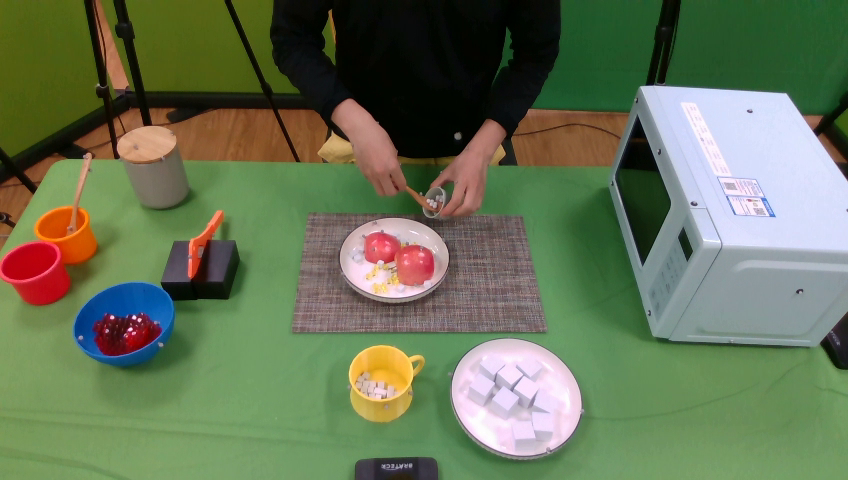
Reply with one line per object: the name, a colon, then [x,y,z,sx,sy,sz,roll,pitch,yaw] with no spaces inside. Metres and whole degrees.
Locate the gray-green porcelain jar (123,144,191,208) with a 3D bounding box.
gray-green porcelain jar: [-0.531,-0.137,1.213,0.106,0.127,0.105,2,47,-2]

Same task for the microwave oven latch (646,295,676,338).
microwave oven latch: [0.413,0.133,1.060,0.030,0.029,0.078,4,46,1]

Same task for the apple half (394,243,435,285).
apple half: [-0.016,0.037,1.120,0.075,0.053,0.080,1,45,-6]

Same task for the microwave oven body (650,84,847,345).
microwave oven body: [0.569,-0.054,1.116,0.326,0.261,0.439,2,46,-1]

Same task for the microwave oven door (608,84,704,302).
microwave oven door: [0.424,-0.096,1.138,0.039,0.245,0.353,2,46,-1]

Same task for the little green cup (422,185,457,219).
little green cup: [0.031,-0.070,1.154,0.061,0.039,0.061,-11,69,32]

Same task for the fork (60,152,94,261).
fork: [-0.638,-0.063,1.119,0.028,0.018,0.207,12,90,7]

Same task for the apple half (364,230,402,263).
apple half: [-0.079,0.005,1.159,0.081,0.033,0.081,2,49,-2]

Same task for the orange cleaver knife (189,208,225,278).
orange cleaver knife: [-0.401,0.002,1.122,0.012,0.077,0.210,4,23,-4]

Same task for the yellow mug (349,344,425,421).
yellow mug: [-0.054,0.217,0.954,0.131,0.064,0.099,-24,53,-25]

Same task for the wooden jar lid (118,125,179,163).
wooden jar lid: [-0.528,-0.181,1.167,0.108,0.021,0.107,4,48,-4]

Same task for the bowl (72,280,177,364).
bowl: [-0.472,0.147,0.982,0.151,0.077,0.150,2,46,-2]

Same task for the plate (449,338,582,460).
plate: [0.141,0.251,0.955,0.208,0.039,0.206,2,47,-2]

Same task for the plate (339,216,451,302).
plate: [-0.054,0.038,1.137,0.209,0.038,0.208,2,46,-2]

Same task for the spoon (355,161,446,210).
spoon: [-0.042,-0.102,1.121,0.194,0.021,0.041,29,30,-23]
